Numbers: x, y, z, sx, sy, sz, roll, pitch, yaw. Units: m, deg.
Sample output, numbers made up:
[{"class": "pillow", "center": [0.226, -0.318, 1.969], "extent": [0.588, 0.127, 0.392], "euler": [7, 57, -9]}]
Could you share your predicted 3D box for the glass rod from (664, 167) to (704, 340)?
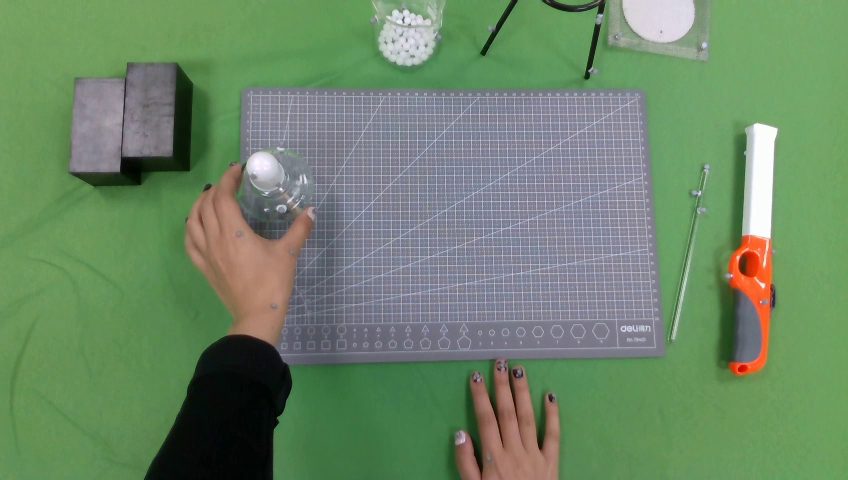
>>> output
[{"class": "glass rod", "center": [0.286, 0.012, 0.666], "extent": [0.008, 0.008, 0.199], "euler": [16, 81, -1]}]

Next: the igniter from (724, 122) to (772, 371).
[{"class": "igniter", "center": [0.356, 0.006, 0.661], "extent": [0.057, 0.025, 0.275], "euler": [10, 81, -12]}]

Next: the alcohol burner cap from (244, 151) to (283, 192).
[{"class": "alcohol burner cap", "center": [-0.149, -0.065, 0.559], "extent": [0.034, 0.048, 0.034], "euler": [1, 83, -6]}]

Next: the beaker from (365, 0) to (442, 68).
[{"class": "beaker", "center": [-0.019, -0.232, 0.640], "extent": [0.084, 0.100, 0.074], "euler": [45, 82, 4]}]

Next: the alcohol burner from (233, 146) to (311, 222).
[{"class": "alcohol burner", "center": [-0.152, -0.059, 0.595], "extent": [0.078, 0.119, 0.077], "euler": [0, 79, -2]}]

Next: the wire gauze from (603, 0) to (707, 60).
[{"class": "wire gauze", "center": [0.270, -0.276, 0.710], "extent": [0.125, 0.011, 0.121], "euler": [6, 80, 0]}]

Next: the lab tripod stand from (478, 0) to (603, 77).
[{"class": "lab tripod stand", "center": [0.132, -0.249, 0.634], "extent": [0.148, 0.132, 0.148], "euler": [0, 79, -2]}]
